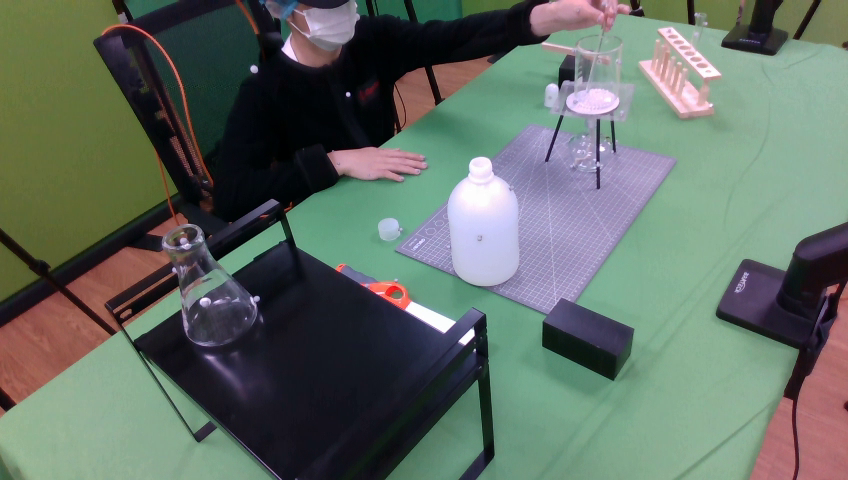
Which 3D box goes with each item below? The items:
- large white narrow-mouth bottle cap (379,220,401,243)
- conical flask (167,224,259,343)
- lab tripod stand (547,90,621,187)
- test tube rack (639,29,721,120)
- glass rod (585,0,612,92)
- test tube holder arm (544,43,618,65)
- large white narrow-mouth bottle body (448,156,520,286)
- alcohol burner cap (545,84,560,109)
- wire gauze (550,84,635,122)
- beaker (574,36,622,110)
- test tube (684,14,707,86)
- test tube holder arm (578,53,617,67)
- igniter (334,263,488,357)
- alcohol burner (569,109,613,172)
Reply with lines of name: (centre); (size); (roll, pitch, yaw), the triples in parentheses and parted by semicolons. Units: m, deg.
large white narrow-mouth bottle cap: (-0.057, -0.015, 1.011); (0.038, 0.024, 0.037); (-4, 40, 4)
conical flask: (-0.220, 0.041, 0.613); (0.075, 0.122, 0.075); (-5, 40, 4)
lab tripod stand: (0.289, -0.184, 1.062); (0.148, 0.132, 0.147); (-6, 41, 6)
test tube rack: (0.527, -0.351, 1.262); (0.067, 0.085, 0.241); (-8, 40, 1)
glass rod: (0.278, -0.320, 0.954); (0.008, 0.200, 0.008); (1, 48, 0)
test tube holder arm: (0.345, -0.413, 1.341); (0.177, 0.015, 0.013); (26, 49, 32)
large white narrow-mouth bottle body: (0.086, -0.032, 0.869); (0.102, 0.195, 0.101); (-4, 40, 4)
alcohol burner cap: (0.274, -0.307, 1.285); (0.034, 0.048, 0.033); (-5, 42, 5)
wire gauze: (0.285, -0.234, 1.021); (0.124, 0.011, 0.121); (8, 41, 24)
beaker: (0.285, -0.273, 0.990); (0.073, 0.101, 0.084); (15, 46, 28)
test tube: (0.541, -0.379, 1.216); (0.017, 0.151, 0.017); (-2, 44, 3)
test tube holder arm: (0.376, -0.394, 1.314); (0.087, 0.015, 0.010); (26, 49, 32)
igniter: (-0.030, 0.095, 0.872); (0.274, 0.025, 0.057); (23, 60, 31)
alcohol burner: (0.297, -0.181, 1.073); (0.078, 0.119, 0.077); (-5, 43, 5)
